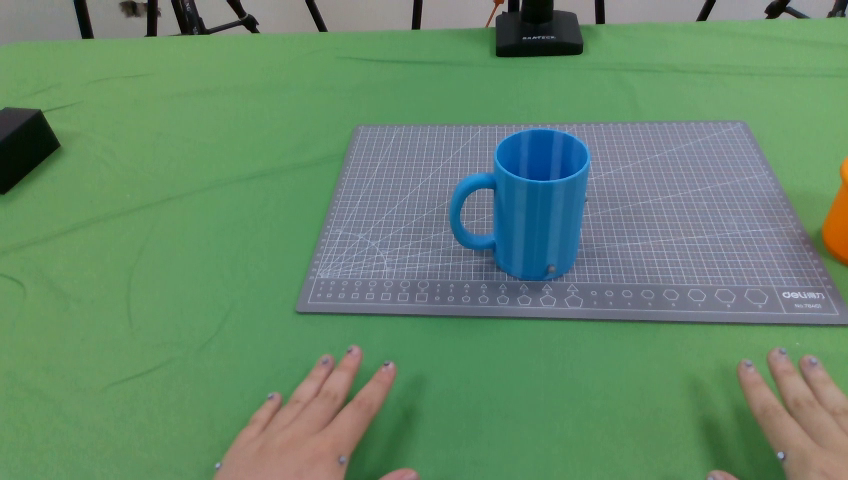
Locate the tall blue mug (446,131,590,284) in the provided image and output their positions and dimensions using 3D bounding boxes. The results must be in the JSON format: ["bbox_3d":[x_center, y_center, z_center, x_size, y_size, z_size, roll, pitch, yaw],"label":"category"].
[{"bbox_3d":[0.082,-0.020,0.509,0.107,0.109,0.077,-26,47,-22],"label":"tall blue mug"}]

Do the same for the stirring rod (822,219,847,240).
[{"bbox_3d":[0.414,-0.040,0.484,0.176,0.006,0.014,-32,30,38],"label":"stirring rod"}]
